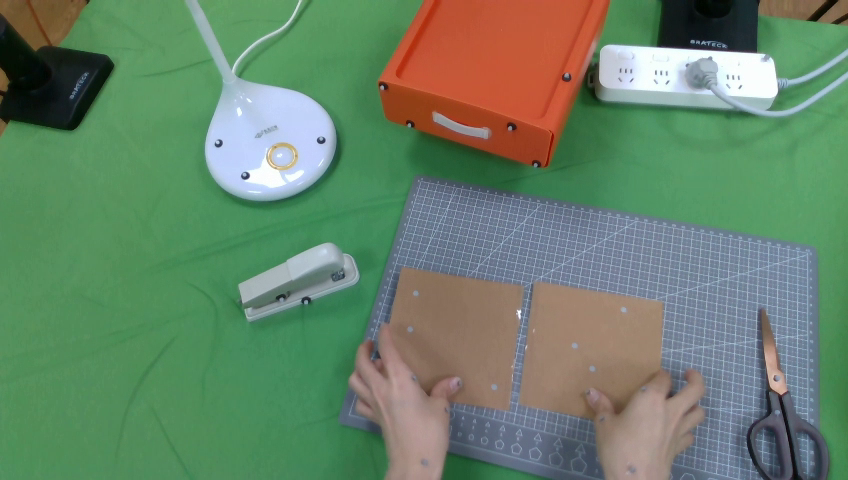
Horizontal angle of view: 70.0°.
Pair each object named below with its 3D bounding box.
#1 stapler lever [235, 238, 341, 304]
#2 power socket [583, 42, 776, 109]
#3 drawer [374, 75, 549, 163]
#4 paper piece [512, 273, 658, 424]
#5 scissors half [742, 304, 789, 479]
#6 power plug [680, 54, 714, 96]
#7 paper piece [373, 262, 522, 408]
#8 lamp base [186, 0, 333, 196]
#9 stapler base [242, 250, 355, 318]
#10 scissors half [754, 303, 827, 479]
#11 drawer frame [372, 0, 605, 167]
[{"bbox_3d":[-0.145,0.032,0.640,0.118,0.040,0.026,-21,62,-4],"label":"stapler lever"},{"bbox_3d":[0.313,-0.203,0.745,0.226,0.033,0.071,6,66,6],"label":"power socket"},{"bbox_3d":[0.076,-0.211,0.690,0.194,0.074,0.210,19,66,13],"label":"drawer"},{"bbox_3d":[0.167,0.107,0.617,0.135,0.004,0.135,10,66,9],"label":"paper piece"},{"bbox_3d":[0.328,0.141,0.586,0.040,0.013,0.174,13,62,2],"label":"scissors half"},{"bbox_3d":[0.317,-0.187,0.711,0.035,0.053,0.072,16,66,11],"label":"power plug"},{"bbox_3d":[0.026,0.094,0.628,0.136,0.009,0.137,8,69,8],"label":"paper piece"},{"bbox_3d":[-0.206,-0.166,0.679,0.160,0.182,0.177,-39,65,-15],"label":"lamp base"},{"bbox_3d":[-0.141,0.043,0.663,0.130,0.024,0.041,-20,62,-5],"label":"stapler base"},{"bbox_3d":[0.348,0.142,0.586,0.040,0.013,0.173,-4,62,-1],"label":"scissors half"},{"bbox_3d":[0.077,-0.215,0.694,0.201,0.083,0.212,19,68,13],"label":"drawer frame"}]
